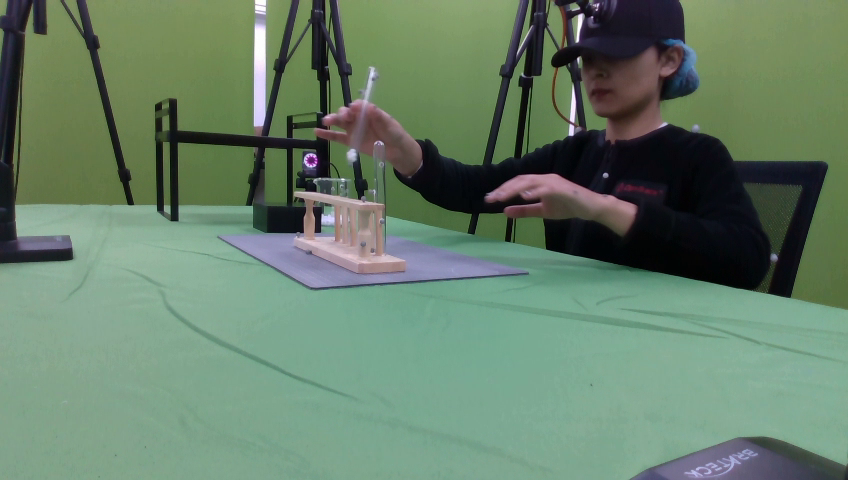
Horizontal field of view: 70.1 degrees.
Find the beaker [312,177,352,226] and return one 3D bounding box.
[{"bbox_3d":[-0.194,-0.081,1.266,0.084,0.100,0.073,-3,9,-29],"label":"beaker"}]

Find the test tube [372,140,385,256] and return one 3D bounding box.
[{"bbox_3d":[-0.058,-0.053,0.781,0.017,0.150,0.017,0,5,0],"label":"test tube"}]

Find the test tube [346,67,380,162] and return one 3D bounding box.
[{"bbox_3d":[-0.089,-0.183,0.880,0.017,0.150,0.017,12,-13,3],"label":"test tube"}]

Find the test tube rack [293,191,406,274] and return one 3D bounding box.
[{"bbox_3d":[-0.110,-0.017,0.835,0.067,0.085,0.241,-2,9,-30],"label":"test tube rack"}]
